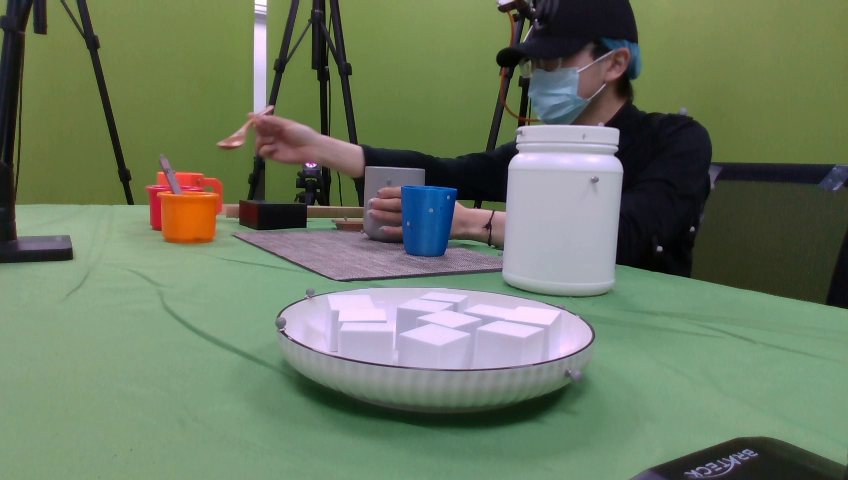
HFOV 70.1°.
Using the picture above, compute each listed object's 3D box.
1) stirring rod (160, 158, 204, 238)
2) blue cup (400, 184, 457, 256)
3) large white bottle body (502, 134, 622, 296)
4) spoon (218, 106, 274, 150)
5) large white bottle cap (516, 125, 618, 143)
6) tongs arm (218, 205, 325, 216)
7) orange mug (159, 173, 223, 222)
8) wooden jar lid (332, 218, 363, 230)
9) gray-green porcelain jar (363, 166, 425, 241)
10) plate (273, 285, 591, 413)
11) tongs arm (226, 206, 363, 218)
[{"bbox_3d":[-0.391,-0.070,0.972,0.014,0.006,0.175,-3,51,-48],"label":"stirring rod"},{"bbox_3d":[0.003,-0.029,0.901,0.093,0.100,0.092,4,8,0],"label":"blue cup"},{"bbox_3d":[0.161,-0.037,0.706,0.131,0.184,0.130,2,7,0],"label":"large white bottle body"},{"bbox_3d":[-0.327,-0.214,1.137,0.041,0.021,0.194,6,39,15],"label":"spoon"},{"bbox_3d":[0.163,-0.120,0.695,0.115,0.018,0.115,2,8,0],"label":"large white bottle cap"},{"bbox_3d":[-0.288,-0.068,1.435,0.389,0.027,0.028,0,-1,-17],"label":"tongs arm"},{"bbox_3d":[-0.477,-0.089,1.241,0.127,0.101,0.083,-7,11,-32],"label":"orange mug"},{"bbox_3d":[-0.129,-0.032,1.204,0.108,0.020,0.108,0,5,0],"label":"wooden jar lid"},{"bbox_3d":[-0.053,-0.065,1.054,0.106,0.126,0.106,2,8,0],"label":"gray-green porcelain jar"},{"bbox_3d":[0.005,0.069,0.407,0.208,0.039,0.207,2,7,0],"label":"plate"},{"bbox_3d":[-0.251,-0.063,1.360,0.387,0.026,0.050,-1,2,-31],"label":"tongs arm"}]
